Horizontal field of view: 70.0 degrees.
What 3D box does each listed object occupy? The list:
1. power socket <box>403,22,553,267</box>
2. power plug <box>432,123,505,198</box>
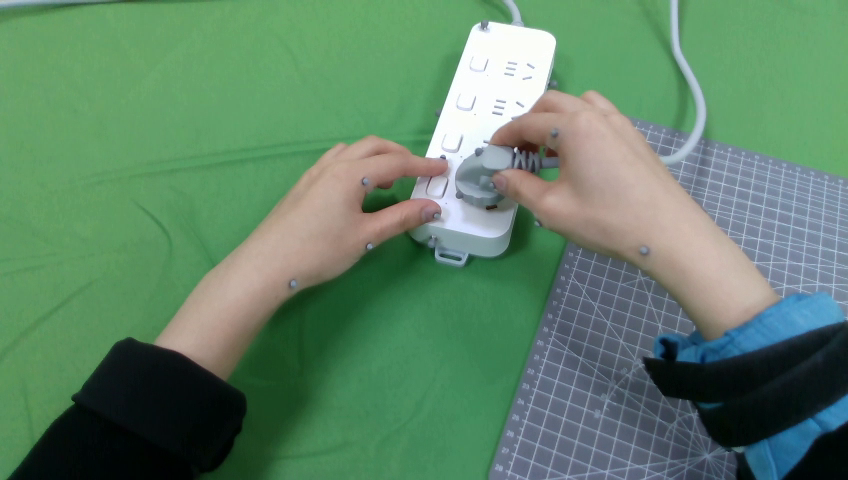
[{"bbox_3d":[0.045,-0.082,0.452,0.072,0.033,0.225,14,59,8],"label":"power socket"},{"bbox_3d":[0.032,-0.053,0.367,0.035,0.073,0.052,27,82,7],"label":"power plug"}]
